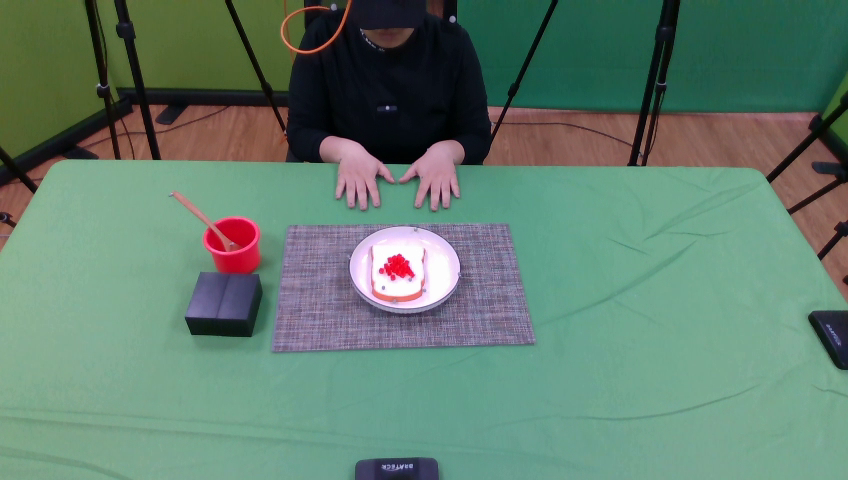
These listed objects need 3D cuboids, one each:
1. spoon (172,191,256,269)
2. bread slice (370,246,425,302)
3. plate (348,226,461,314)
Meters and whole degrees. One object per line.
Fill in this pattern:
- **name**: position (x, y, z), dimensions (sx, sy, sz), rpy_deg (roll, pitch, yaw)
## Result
- **spoon**: position (-0.382, -0.019, 1.104), dimensions (0.194, 0.021, 0.041), rpy_deg (50, 49, -17)
- **bread slice**: position (-0.048, 0.060, 1.123), dimensions (0.105, 0.019, 0.130), rpy_deg (0, 45, -3)
- **plate**: position (-0.035, 0.058, 1.124), dimensions (0.209, 0.038, 0.208), rpy_deg (2, 46, -2)
